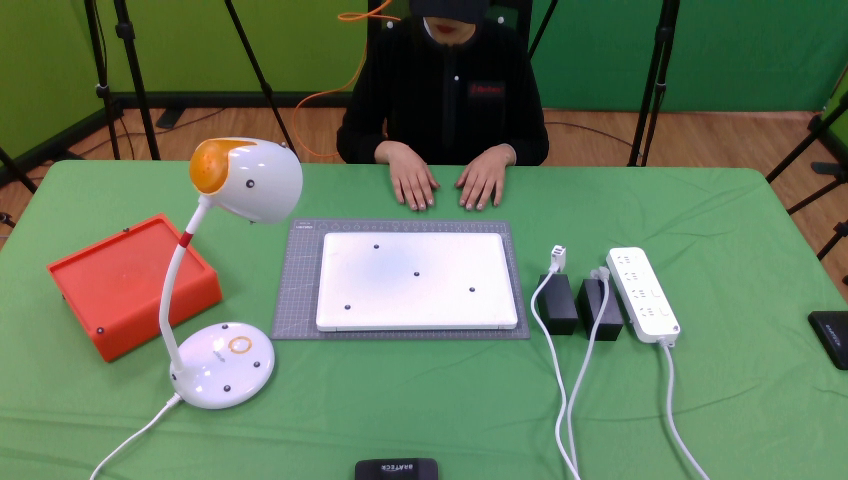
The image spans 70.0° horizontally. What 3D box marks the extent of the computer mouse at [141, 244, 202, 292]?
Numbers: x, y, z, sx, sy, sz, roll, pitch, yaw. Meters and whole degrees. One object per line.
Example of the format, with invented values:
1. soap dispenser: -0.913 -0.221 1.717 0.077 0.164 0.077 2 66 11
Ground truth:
1. computer mouse: -0.460 0.044 1.099 0.116 0.041 0.063 30 52 29

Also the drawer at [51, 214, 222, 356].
1. drawer: -0.495 0.072 1.053 0.212 0.073 0.193 -32 57 -29

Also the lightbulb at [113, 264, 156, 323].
1. lightbulb: -0.494 0.091 1.045 0.059 0.060 0.107 9 62 5

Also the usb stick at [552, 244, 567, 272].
1. usb stick: 0.251 0.039 1.123 0.021 0.059 0.027 14 47 24

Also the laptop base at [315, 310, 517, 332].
1. laptop base: -0.016 0.075 1.125 0.355 0.023 0.234 0 42 -4

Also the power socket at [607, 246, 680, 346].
1. power socket: 0.403 0.096 1.123 0.072 0.033 0.225 -2 46 -5

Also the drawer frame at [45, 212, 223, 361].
1. drawer frame: -0.496 0.073 1.049 0.213 0.083 0.200 -33 56 -29

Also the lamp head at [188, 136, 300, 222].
1. lamp head: -0.240 -0.081 0.773 0.112 0.112 0.123 35 15 26

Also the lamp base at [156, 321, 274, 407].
1. lamp base: -0.328 0.151 0.916 0.160 0.181 0.179 29 53 22

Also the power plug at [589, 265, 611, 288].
1. power plug: 0.318 0.073 1.108 0.035 0.053 0.072 26 34 13

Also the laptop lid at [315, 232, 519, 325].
1. laptop lid: -0.015 0.065 1.118 0.357 0.013 0.240 1 43 -3
